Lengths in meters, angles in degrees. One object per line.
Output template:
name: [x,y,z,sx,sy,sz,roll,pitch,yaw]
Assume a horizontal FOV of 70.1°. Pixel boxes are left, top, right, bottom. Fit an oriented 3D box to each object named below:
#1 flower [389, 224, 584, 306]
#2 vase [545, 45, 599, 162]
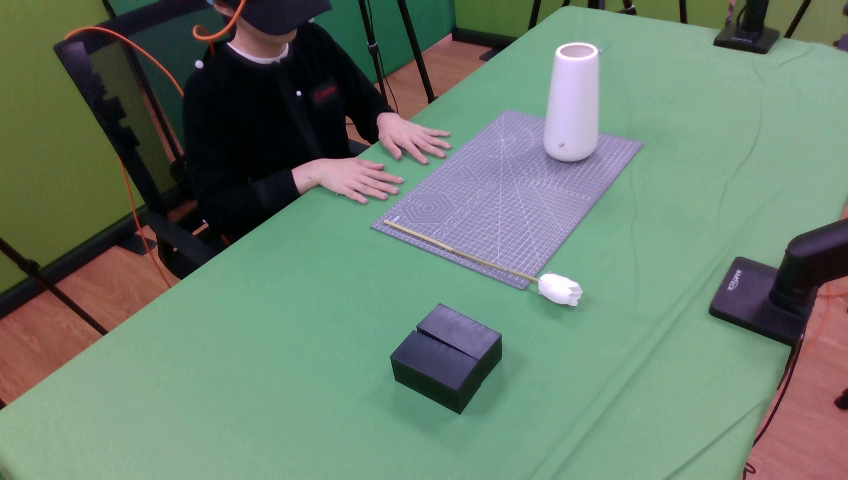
flower: [0.078,0.026,0.938,0.358,0.038,0.044,21,15,35]
vase: [0.266,-0.238,1.074,0.098,0.201,0.097,-4,42,4]
